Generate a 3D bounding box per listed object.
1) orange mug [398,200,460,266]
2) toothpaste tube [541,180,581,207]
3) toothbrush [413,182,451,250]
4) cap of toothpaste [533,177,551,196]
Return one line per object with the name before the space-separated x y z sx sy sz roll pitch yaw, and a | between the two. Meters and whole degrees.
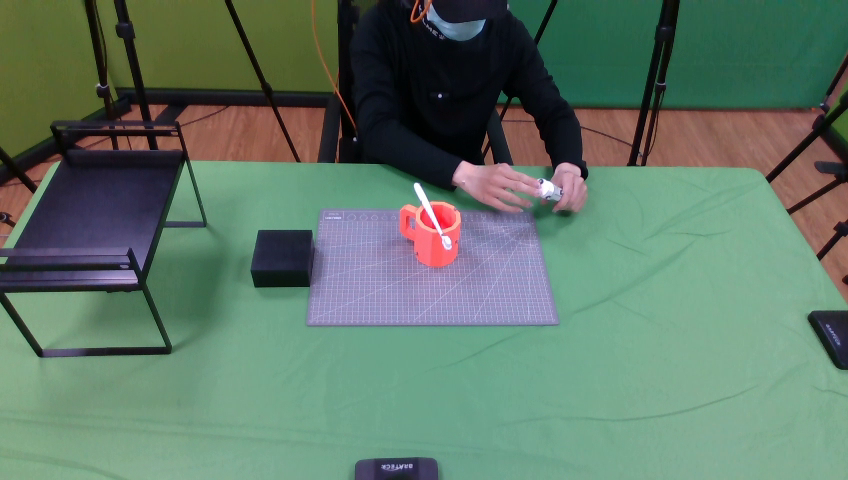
orange mug | 0.007 -0.020 1.161 0.126 0.101 0.083 27 50 15
toothpaste tube | 0.274 -0.093 1.237 0.055 0.034 0.166 39 15 30
toothbrush | 0.013 -0.050 1.118 0.014 0.017 0.180 -15 49 -14
cap of toothpaste | 0.229 -0.103 1.171 0.037 0.037 0.011 37 15 27
